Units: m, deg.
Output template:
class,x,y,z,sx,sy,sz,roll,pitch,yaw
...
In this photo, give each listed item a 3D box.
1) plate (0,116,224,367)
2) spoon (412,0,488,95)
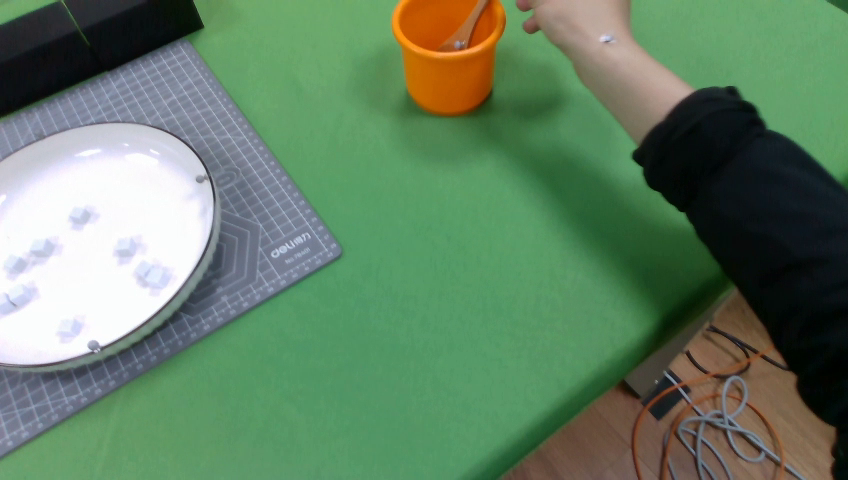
class,x,y,z,sx,sy,sz,roll,pitch,yaw
plate,-0.249,-0.002,0.450,0.209,0.038,0.207,-1,60,2
spoon,0.053,-0.199,0.491,0.041,0.194,0.022,50,29,21
